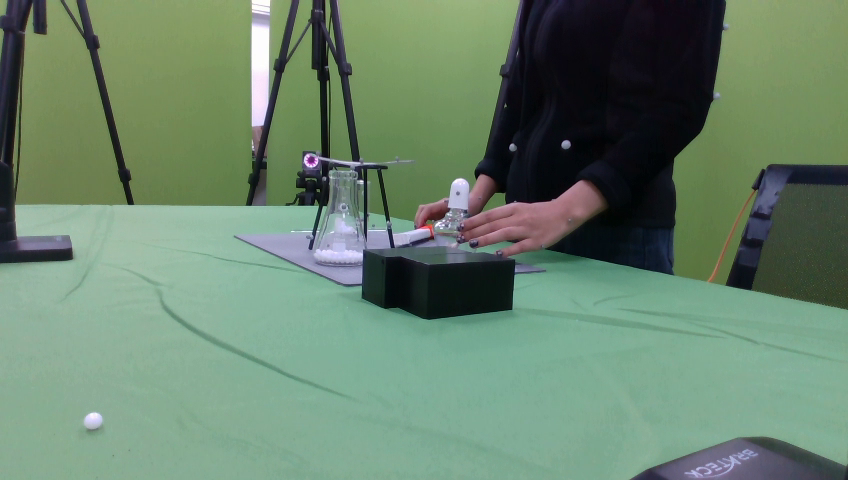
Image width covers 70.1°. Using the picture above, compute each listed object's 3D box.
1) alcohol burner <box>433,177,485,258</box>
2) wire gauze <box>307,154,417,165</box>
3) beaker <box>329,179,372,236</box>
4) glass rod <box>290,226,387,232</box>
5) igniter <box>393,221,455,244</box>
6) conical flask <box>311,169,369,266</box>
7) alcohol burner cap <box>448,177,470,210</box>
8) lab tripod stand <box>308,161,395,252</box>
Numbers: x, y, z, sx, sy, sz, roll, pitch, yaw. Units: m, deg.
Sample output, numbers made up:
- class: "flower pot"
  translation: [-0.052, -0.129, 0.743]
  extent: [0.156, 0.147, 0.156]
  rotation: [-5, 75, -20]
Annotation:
- class: "alcohol burner"
  translation: [0.052, -0.033, 0.894]
  extent: [0.078, 0.119, 0.078]
  rotation: [3, 9, 0]
- class: "wire gauze"
  translation: [-0.094, -0.120, 0.913]
  extent: [0.122, 0.011, 0.124]
  rotation: [-5, 11, -45]
- class: "beaker"
  translation: [-0.137, -0.061, 1.101]
  extent: [0.084, 0.100, 0.074]
  rotation: [4, 7, 20]
- class: "glass rod"
  translation: [-0.161, -0.022, 1.177]
  extent: [0.201, 0.008, 0.008]
  rotation: [-2, 8, -28]
- class: "igniter"
  translation: [0.004, -0.015, 1.083]
  extent: [0.057, 0.025, 0.277]
  rotation: [-4, 4, 18]
- class: "conical flask"
  translation: [-0.107, -0.031, 0.786]
  extent: [0.075, 0.122, 0.075]
  rotation: [2, 8, 0]
- class: "alcohol burner cap"
  translation: [0.052, -0.069, 0.889]
  extent: [0.034, 0.048, 0.034]
  rotation: [4, 3, 0]
- class: "lab tripod stand"
  translation: [-0.098, -0.053, 0.919]
  extent: [0.148, 0.131, 0.148]
  rotation: [4, 7, 0]
